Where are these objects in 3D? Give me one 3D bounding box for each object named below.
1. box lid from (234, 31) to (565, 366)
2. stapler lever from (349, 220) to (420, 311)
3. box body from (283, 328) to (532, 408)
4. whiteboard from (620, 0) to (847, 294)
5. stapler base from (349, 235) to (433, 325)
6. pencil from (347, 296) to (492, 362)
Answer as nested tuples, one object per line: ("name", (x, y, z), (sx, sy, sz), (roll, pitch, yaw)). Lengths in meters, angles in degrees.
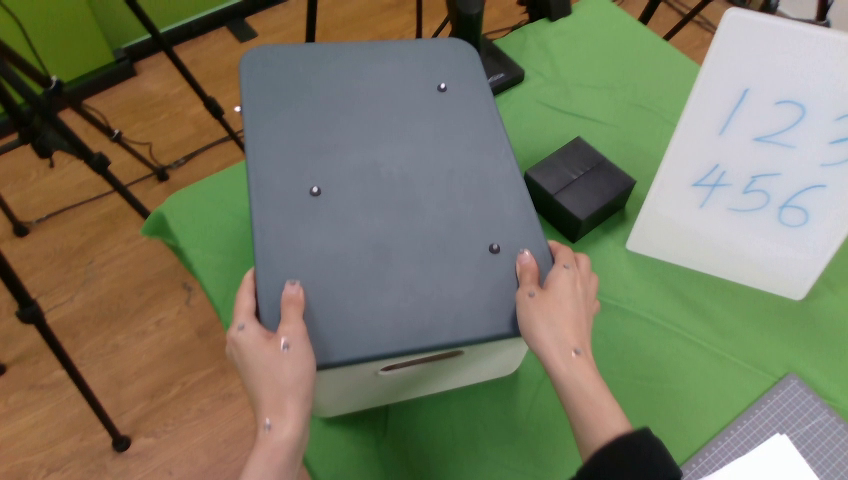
("box lid", (-0.037, -0.071, 0.581), (0.264, 0.015, 0.368), (-7, 60, -14))
("stapler lever", (-0.045, 0.026, 0.697), (0.026, 0.040, 0.117), (21, 60, 32))
("box body", (-0.045, -0.018, 0.681), (0.254, 0.162, 0.360), (-12, 58, -8))
("whiteboard", (0.392, -0.121, 0.708), (0.216, 0.308, 0.143), (18, 39, 11))
("stapler base", (-0.039, 0.040, 0.717), (0.041, 0.025, 0.130), (21, 61, 32))
("pencil", (-0.001, 0.100, 0.687), (0.194, 0.012, 0.012), (-20, 58, -28))
